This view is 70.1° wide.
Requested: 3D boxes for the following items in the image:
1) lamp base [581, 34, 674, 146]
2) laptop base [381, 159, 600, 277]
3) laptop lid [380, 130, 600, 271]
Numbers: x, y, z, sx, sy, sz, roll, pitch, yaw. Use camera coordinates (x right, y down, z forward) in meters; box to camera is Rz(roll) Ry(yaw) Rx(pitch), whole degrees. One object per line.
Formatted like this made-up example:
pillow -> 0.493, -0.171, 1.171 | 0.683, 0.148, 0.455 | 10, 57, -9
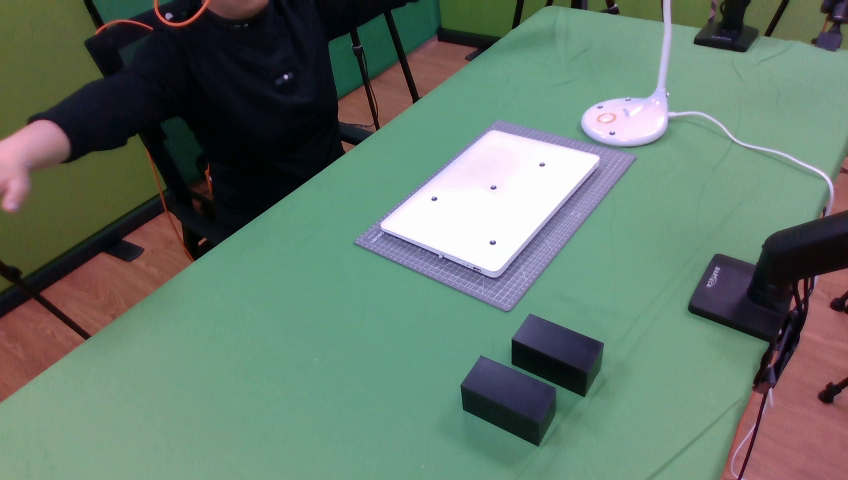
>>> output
lamp base -> 0.392, -0.291, 1.129 | 0.180, 0.181, 0.159 | -11, 41, -8
laptop base -> 0.122, -0.077, 1.043 | 0.233, 0.023, 0.355 | 20, 47, 33
laptop lid -> 0.119, -0.087, 1.036 | 0.239, 0.013, 0.358 | 23, 48, 33
